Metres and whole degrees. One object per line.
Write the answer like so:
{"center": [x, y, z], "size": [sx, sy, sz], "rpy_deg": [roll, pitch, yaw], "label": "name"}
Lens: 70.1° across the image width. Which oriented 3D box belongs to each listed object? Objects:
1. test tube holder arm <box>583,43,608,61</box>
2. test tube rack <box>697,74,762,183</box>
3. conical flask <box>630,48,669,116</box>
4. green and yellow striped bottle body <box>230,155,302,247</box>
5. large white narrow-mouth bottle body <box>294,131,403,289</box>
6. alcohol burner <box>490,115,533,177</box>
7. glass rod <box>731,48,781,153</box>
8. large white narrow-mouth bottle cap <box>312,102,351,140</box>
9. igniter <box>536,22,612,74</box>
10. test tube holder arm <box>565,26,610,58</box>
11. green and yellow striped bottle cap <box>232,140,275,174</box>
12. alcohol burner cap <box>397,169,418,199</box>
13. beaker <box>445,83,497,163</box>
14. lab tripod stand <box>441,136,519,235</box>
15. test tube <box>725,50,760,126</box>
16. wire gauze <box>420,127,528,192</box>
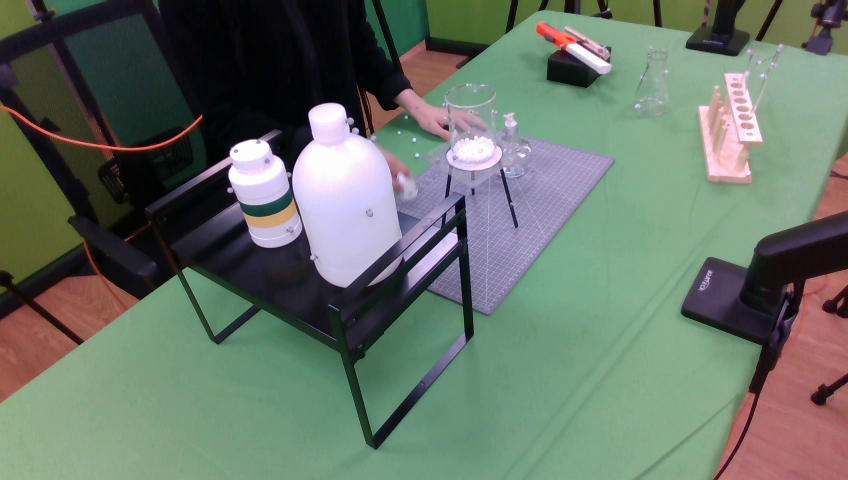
{"center": [0.379, -0.420, 1.341], "size": [0.010, 0.015, 0.087], "rpy_deg": [-39, 41, 10], "label": "test tube holder arm"}
{"center": [0.547, -0.208, 1.094], "size": [0.066, 0.085, 0.242], "rpy_deg": [6, 42, 15], "label": "test tube rack"}
{"center": [0.456, -0.317, 1.205], "size": [0.075, 0.122, 0.075], "rpy_deg": [-4, 41, 4], "label": "conical flask"}
{"center": [-0.188, -0.055, 0.714], "size": [0.063, 0.120, 0.063], "rpy_deg": [-4, 41, 4], "label": "green and yellow striped bottle body"}
{"center": [-0.082, -0.047, 0.634], "size": [0.102, 0.195, 0.101], "rpy_deg": [-4, 40, 3], "label": "large white narrow-mouth bottle body"}
{"center": [0.157, -0.173, 1.083], "size": [0.078, 0.119, 0.077], "rpy_deg": [-4, 43, 4], "label": "alcohol burner"}
{"center": [0.554, -0.228, 1.014], "size": [0.008, 0.200, 0.008], "rpy_deg": [1, 44, -1], "label": "glass rod"}
{"center": [-0.089, -0.114, 0.579], "size": [0.038, 0.024, 0.037], "rpy_deg": [-3, 39, 3], "label": "large white narrow-mouth bottle cap"}
{"center": [0.330, -0.438, 1.366], "size": [0.057, 0.025, 0.274], "rpy_deg": [-11, 41, -19], "label": "igniter"}
{"center": [0.369, -0.450, 1.373], "size": [0.013, 0.015, 0.177], "rpy_deg": [-39, 41, 10], "label": "test tube holder arm"}
{"center": [-0.192, -0.094, 0.680], "size": [0.045, 0.020, 0.045], "rpy_deg": [-5, 39, 5], "label": "green and yellow striped bottle cap"}
{"center": [-0.029, -0.094, 0.995], "size": [0.034, 0.048, 0.033], "rpy_deg": [-6, 44, 6], "label": "alcohol burner cap"}
{"center": [0.073, -0.175, 0.904], "size": [0.074, 0.101, 0.084], "rpy_deg": [3, 41, 13], "label": "beaker"}
{"center": [0.083, -0.086, 0.976], "size": [0.148, 0.132, 0.147], "rpy_deg": [-4, 42, 4], "label": "lab tripod stand"}
{"center": [0.570, -0.269, 1.086], "size": [0.017, 0.151, 0.017], "rpy_deg": [-1, 45, 2], "label": "test tube"}
{"center": [0.076, -0.131, 0.927], "size": [0.122, 0.011, 0.124], "rpy_deg": [-34, 49, -25], "label": "wire gauze"}
